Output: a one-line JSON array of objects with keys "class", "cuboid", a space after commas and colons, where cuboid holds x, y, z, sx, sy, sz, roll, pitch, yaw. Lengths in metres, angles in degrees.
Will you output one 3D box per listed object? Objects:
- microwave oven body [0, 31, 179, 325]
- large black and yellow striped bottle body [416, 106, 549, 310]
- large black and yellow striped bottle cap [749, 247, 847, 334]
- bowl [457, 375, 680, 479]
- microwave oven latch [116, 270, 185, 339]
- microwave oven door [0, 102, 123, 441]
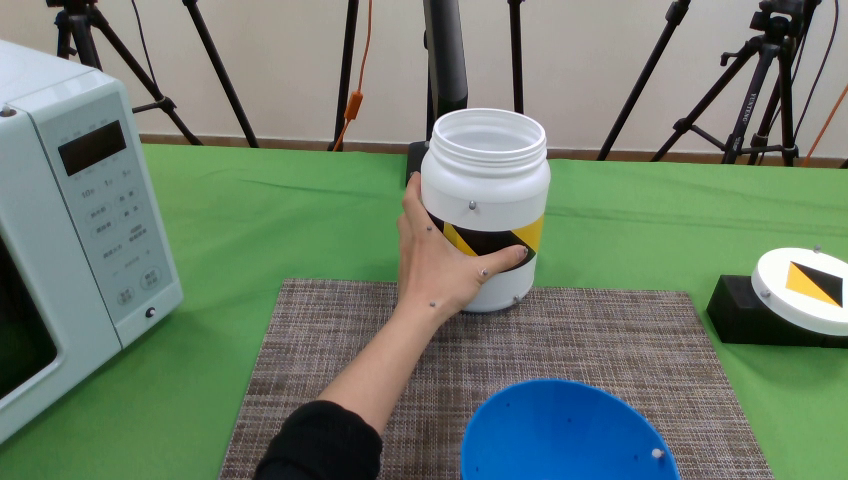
[{"class": "microwave oven body", "cuboid": [-0.482, 0.028, 0.455, 0.324, 0.262, 0.440, 20, 42, 21]}, {"class": "large black and yellow striped bottle body", "cuboid": [0.058, -0.034, 0.632, 0.131, 0.185, 0.129, 2, 34, -1]}, {"class": "large black and yellow striped bottle cap", "cuboid": [0.388, 0.047, 0.605, 0.115, 0.019, 0.114, 1, 37, 0]}, {"class": "bowl", "cuboid": [0.096, 0.181, 0.439, 0.151, 0.077, 0.150, 1, 37, -1]}, {"class": "microwave oven latch", "cuboid": [-0.270, 0.059, 0.587, 0.030, 0.030, 0.079, 22, 42, 22]}, {"class": "microwave oven door", "cuboid": [-0.374, 0.091, 0.370, 0.039, 0.246, 0.355, 19, 41, 22]}]
